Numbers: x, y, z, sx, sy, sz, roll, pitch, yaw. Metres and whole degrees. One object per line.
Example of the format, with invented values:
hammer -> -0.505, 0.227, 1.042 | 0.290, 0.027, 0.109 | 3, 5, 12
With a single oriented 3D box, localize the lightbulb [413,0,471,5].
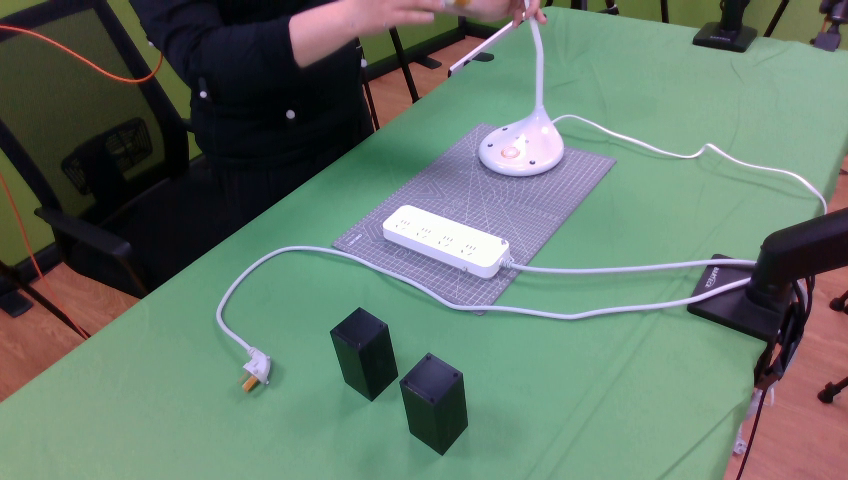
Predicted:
lightbulb -> 0.023, -0.380, 0.910 | 0.108, 0.059, 0.059 | 10, 35, -21

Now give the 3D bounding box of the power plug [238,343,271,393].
power plug -> -0.230, 0.172, 0.801 | 0.072, 0.035, 0.053 | 8, 51, 50

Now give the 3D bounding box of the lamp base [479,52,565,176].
lamp base -> 0.181, -0.235, 1.093 | 0.159, 0.181, 0.179 | 18, 44, 27

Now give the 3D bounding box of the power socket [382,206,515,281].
power socket -> 0.032, 0.002, 0.950 | 0.225, 0.033, 0.072 | 21, 49, 29
